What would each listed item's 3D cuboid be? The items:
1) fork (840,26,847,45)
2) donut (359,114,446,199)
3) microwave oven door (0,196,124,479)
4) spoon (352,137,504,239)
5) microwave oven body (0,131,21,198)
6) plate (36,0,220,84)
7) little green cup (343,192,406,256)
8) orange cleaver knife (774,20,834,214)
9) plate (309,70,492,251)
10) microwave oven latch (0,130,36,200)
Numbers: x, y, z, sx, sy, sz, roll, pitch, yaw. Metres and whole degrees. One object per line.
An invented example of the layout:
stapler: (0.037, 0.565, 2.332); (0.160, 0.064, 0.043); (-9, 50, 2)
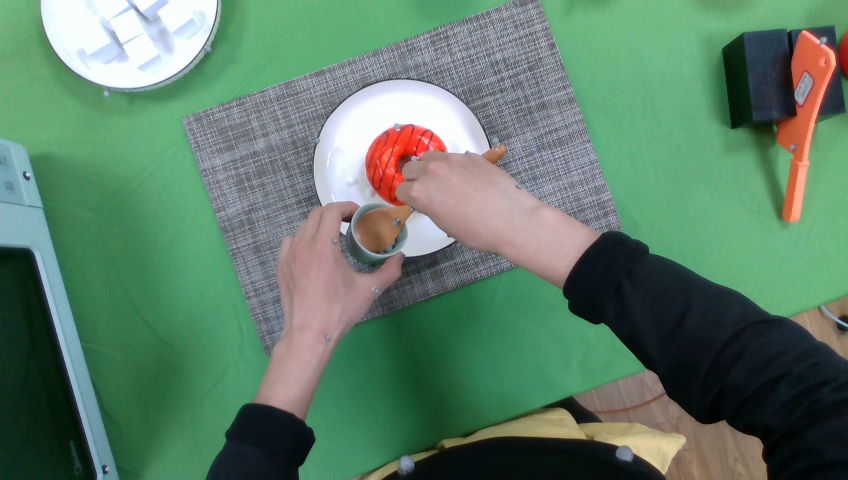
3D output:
fork: (0.574, -0.231, 0.655); (0.206, 0.019, 0.028); (9, 87, 42)
donut: (-0.024, -0.094, 0.691); (0.099, 0.048, 0.099); (0, 92, 1)
microwave oven door: (-0.409, 0.125, 0.583); (0.039, 0.244, 0.355); (-17, 89, 0)
spoon: (-0.002, -0.044, 0.574); (0.193, 0.021, 0.042); (-28, 96, 37)
microwave oven body: (-0.561, 0.126, 0.588); (0.326, 0.260, 0.441); (-17, 90, -1)
plate: (-0.339, -0.283, 0.708); (0.208, 0.039, 0.207); (0, 89, 0)
little green cup: (-0.053, -0.014, 0.625); (0.062, 0.039, 0.061); (14, 52, -18)
orange cleaver knife: (0.419, -0.134, 0.685); (0.012, 0.076, 0.213); (-5, 118, 2)
plate: (-0.027, -0.090, 0.702); (0.209, 0.038, 0.209); (0, 90, 0)
microwave oven latch: (-0.470, -0.083, 0.687); (0.030, 0.029, 0.079); (-16, 90, -1)
